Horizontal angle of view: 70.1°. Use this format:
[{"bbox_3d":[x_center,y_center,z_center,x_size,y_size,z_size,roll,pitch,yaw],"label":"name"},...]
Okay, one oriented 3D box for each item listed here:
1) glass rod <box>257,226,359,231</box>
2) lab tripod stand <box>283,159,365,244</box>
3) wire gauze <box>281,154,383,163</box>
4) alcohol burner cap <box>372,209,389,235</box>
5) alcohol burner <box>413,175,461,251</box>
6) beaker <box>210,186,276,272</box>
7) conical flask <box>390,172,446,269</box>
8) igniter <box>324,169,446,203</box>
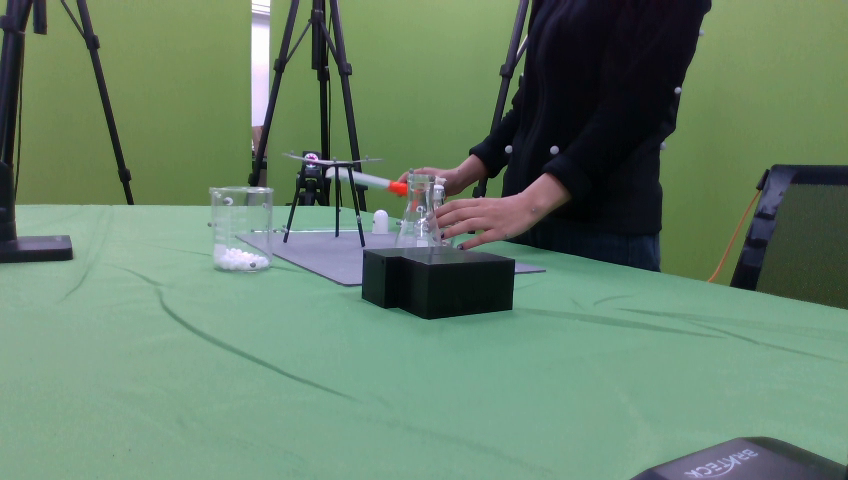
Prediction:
[{"bbox_3d":[-0.215,-0.021,1.151,0.201,0.008,0.008,-2,8,-28],"label":"glass rod"},{"bbox_3d":[-0.151,-0.063,0.983,0.148,0.131,0.148,4,7,0],"label":"lab tripod stand"},{"bbox_3d":[-0.146,-0.130,0.977,0.124,0.011,0.122,9,10,41],"label":"wire gauze"},{"bbox_3d":[-0.082,-0.035,1.143,0.034,0.048,0.034,2,6,0],"label":"alcohol burner cap"},{"bbox_3d":[0.021,-0.043,0.957,0.078,0.119,0.078,1,6,0],"label":"alcohol burner"},{"bbox_3d":[-0.224,-0.014,0.738,0.084,0.100,0.074,4,7,16],"label":"beaker"},{"bbox_3d":[-0.006,-0.027,0.790,0.075,0.122,0.075,2,7,0],"label":"conical flask"},{"bbox_3d":[-0.075,-0.111,1.260,0.278,0.025,0.057,9,-7,-32],"label":"igniter"}]
